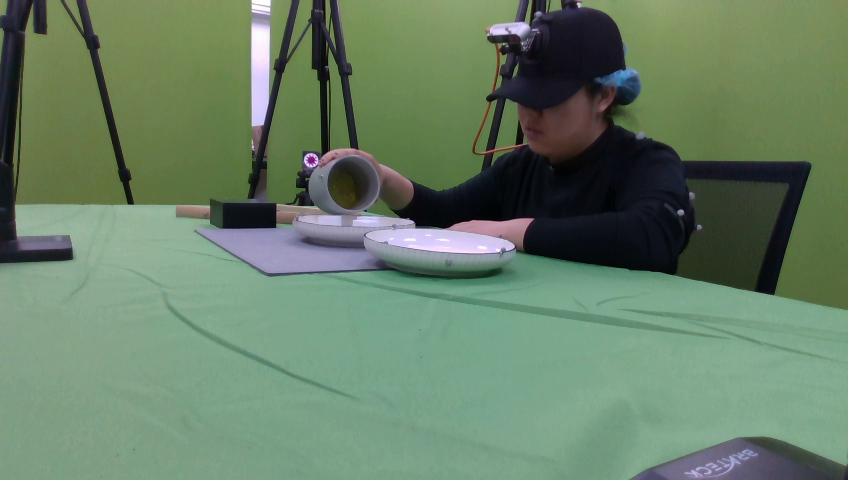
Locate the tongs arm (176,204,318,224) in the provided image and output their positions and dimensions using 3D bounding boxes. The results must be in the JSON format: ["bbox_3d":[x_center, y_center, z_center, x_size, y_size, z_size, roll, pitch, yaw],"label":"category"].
[{"bbox_3d":[-0.333,-0.051,1.273,0.387,0.028,0.028,4,5,4],"label":"tongs arm"}]

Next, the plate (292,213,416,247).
[{"bbox_3d":[-0.118,-0.017,1.024,0.208,0.039,0.207,3,8,0],"label":"plate"}]

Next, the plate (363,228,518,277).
[{"bbox_3d":[0.021,0.016,0.817,0.209,0.038,0.209,4,9,0],"label":"plate"}]

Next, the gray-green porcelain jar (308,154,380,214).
[{"bbox_3d":[-0.155,-0.102,1.135,0.106,0.105,0.126,-1,1,-27],"label":"gray-green porcelain jar"}]

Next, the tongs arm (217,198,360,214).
[{"bbox_3d":[-0.313,-0.064,1.352,0.384,0.026,0.051,6,9,17],"label":"tongs arm"}]
